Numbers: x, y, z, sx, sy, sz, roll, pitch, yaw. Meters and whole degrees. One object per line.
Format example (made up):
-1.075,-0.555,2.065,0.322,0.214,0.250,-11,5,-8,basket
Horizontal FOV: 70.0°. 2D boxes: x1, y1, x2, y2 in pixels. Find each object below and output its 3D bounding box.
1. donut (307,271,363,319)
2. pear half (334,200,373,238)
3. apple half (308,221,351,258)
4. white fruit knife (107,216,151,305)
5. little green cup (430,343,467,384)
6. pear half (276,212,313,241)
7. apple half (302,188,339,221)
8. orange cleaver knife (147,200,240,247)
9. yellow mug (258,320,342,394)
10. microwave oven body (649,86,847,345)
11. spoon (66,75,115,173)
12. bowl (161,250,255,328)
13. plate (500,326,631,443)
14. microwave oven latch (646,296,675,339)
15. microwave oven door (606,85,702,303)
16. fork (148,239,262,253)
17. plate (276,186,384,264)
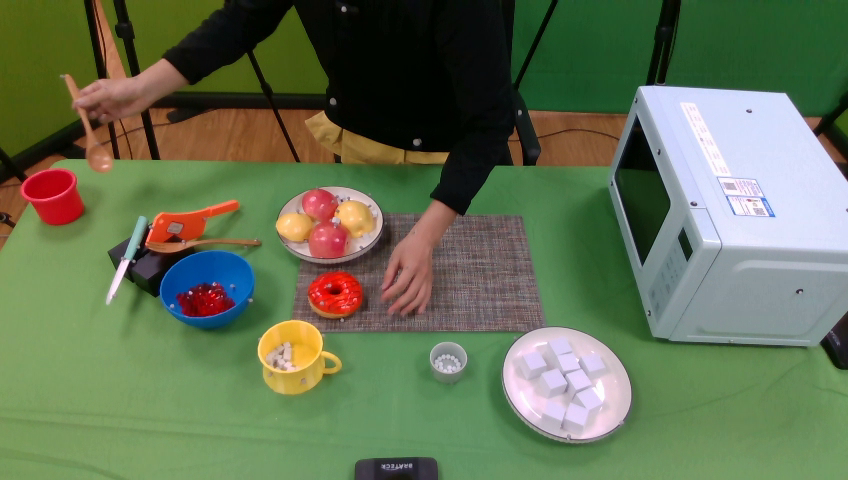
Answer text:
-0.157,0.097,1.072,0.099,0.048,0.098,4,45,-4,donut
-0.147,-0.059,1.210,0.076,0.056,0.109,-17,44,-25,pear half
-0.180,-0.005,1.150,0.074,0.053,0.080,14,44,8,apple half
-0.518,0.032,1.066,0.027,0.016,0.206,-19,45,19,white fruit knife
0.039,0.203,0.993,0.061,0.039,0.061,2,46,-2,little green cup
-0.244,-0.035,1.178,0.070,0.031,0.088,40,42,2,pear half
-0.205,-0.076,1.217,0.081,0.033,0.081,18,46,-19,apple half
-0.435,-0.033,1.157,0.012,0.077,0.211,31,26,18,orange cleaver knife
-0.196,0.189,0.971,0.131,0.064,0.099,9,46,4,yellow mug
0.568,-0.053,1.118,0.326,0.261,0.439,2,45,-1,microwave oven body
-0.626,-0.216,1.132,0.041,0.194,0.021,-21,7,-33,spoon
-0.362,0.097,1.040,0.151,0.077,0.150,2,45,-2,bowl
0.224,0.234,0.978,0.208,0.039,0.206,2,46,-2,plate
0.412,0.134,1.061,0.030,0.029,0.078,4,45,1,microwave oven latch
0.423,-0.094,1.140,0.039,0.245,0.353,2,46,-1,microwave oven door
-0.398,0.008,1.117,0.208,0.019,0.028,-5,34,-37,fork
-0.184,-0.027,1.195,0.209,0.038,0.208,2,46,-2,plate
